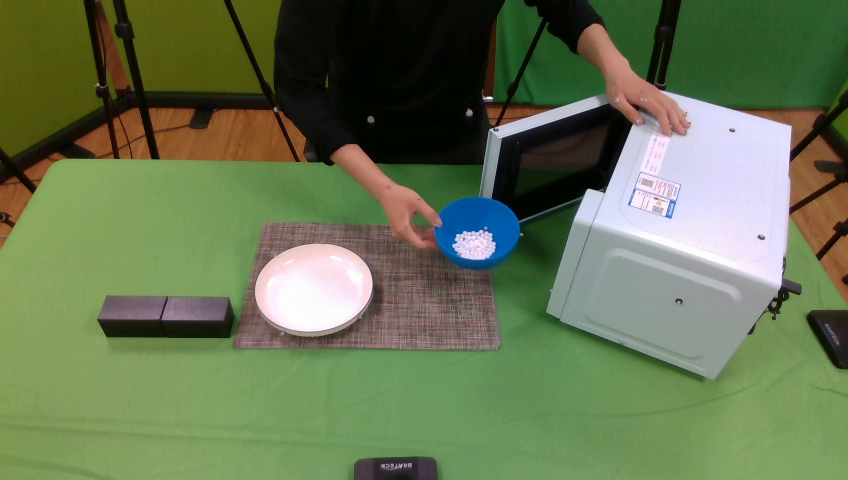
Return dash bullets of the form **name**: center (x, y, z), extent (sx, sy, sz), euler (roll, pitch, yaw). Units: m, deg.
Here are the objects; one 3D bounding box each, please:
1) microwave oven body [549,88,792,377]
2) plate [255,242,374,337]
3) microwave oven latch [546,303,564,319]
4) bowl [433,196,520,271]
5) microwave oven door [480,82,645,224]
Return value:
- **microwave oven body**: center (0.456, -0.028, 1.088), extent (0.325, 0.261, 0.440), euler (20, 47, 16)
- **plate**: center (-0.192, 0.090, 1.079), extent (0.208, 0.039, 0.206), euler (2, 46, -2)
- **microwave oven latch**: center (0.242, 0.102, 1.081), extent (0.030, 0.029, 0.079), euler (22, 48, 17)
- **bowl**: center (0.092, 0.002, 1.075), extent (0.151, 0.077, 0.150), euler (-1, 49, 2)
- **microwave oven door**: center (0.269, -0.159, 1.193), extent (0.356, 0.245, 0.039), euler (-21, 50, -22)
